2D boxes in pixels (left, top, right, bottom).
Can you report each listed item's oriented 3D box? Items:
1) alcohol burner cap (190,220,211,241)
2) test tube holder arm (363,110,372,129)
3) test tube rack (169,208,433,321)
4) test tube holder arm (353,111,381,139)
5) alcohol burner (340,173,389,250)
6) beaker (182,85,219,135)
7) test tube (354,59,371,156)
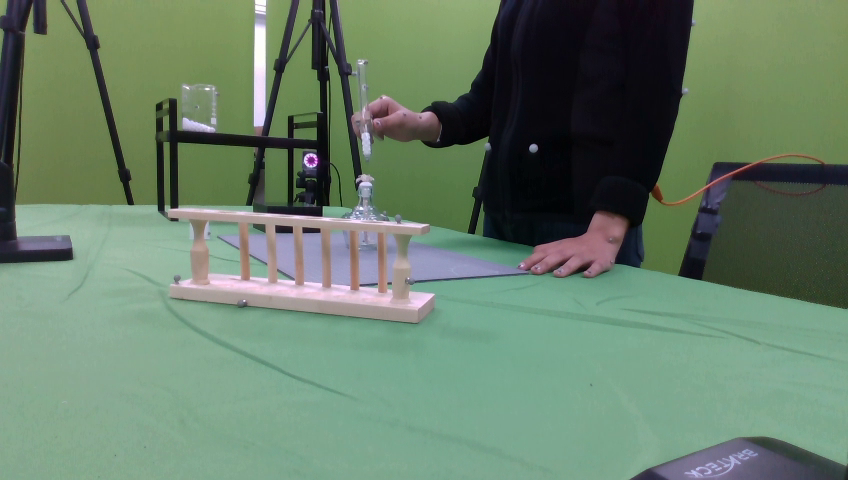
[{"bbox_3d":[-0.365,-0.023,0.988,0.034,0.048,0.034,2,7,0],"label":"alcohol burner cap"},{"bbox_3d":[-0.089,-0.189,0.956,0.010,0.015,0.088,-2,0,-2],"label":"test tube holder arm"},{"bbox_3d":[-0.115,0.017,0.574,0.242,0.085,0.067,4,8,14],"label":"test tube rack"},{"bbox_3d":[-0.092,-0.188,1.001,0.013,0.015,0.178,-2,0,6],"label":"test tube holder arm"},{"bbox_3d":[-0.093,-0.045,0.939,0.078,0.119,0.078,0,7,0],"label":"alcohol burner"},{"bbox_3d":[-0.479,-0.276,1.291,0.074,0.100,0.084,2,8,-1],"label":"beaker"},{"bbox_3d":[-0.095,-0.204,0.933,0.017,0.150,0.017,-4,-2,0],"label":"test tube"}]
